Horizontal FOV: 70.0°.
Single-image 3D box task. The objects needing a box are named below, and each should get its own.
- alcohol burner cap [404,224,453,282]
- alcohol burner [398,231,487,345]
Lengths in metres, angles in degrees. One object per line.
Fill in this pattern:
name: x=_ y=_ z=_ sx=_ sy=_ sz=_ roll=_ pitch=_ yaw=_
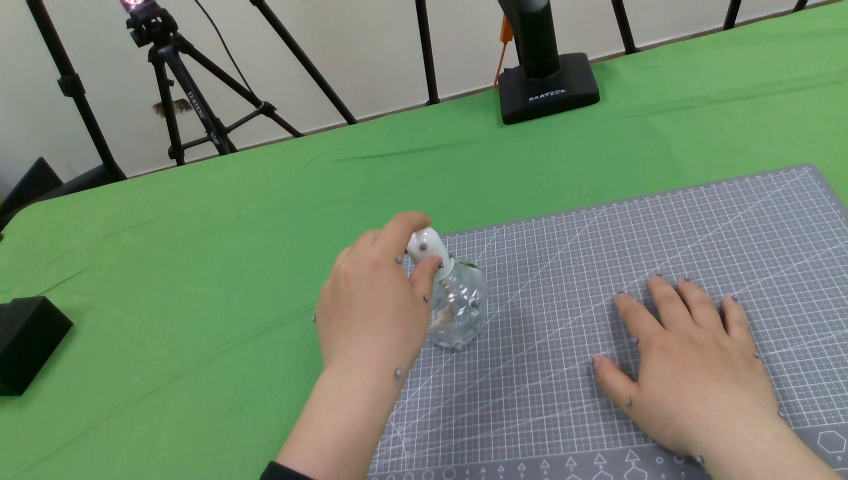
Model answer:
alcohol burner cap: x=0.002 y=0.007 z=0.483 sx=0.034 sy=0.048 sz=0.033 roll=-12 pitch=47 yaw=14
alcohol burner: x=0.011 y=0.034 z=0.507 sx=0.078 sy=0.120 sz=0.077 roll=-11 pitch=42 yaw=10
